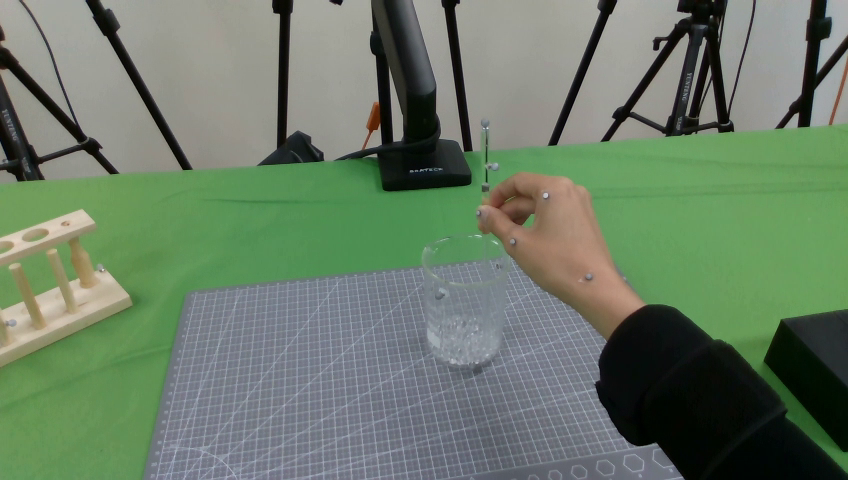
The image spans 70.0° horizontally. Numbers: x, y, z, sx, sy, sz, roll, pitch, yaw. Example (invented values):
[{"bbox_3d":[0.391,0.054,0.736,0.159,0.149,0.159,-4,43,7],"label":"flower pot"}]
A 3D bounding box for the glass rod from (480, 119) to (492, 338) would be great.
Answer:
[{"bbox_3d":[0.052,-0.001,0.491,0.008,0.201,0.008,-3,29,2],"label":"glass rod"}]

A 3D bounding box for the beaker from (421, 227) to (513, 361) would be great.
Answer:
[{"bbox_3d":[0.033,0.048,0.529,0.083,0.101,0.074,26,43,33],"label":"beaker"}]

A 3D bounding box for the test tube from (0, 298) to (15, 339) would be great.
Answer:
[{"bbox_3d":[-0.374,0.023,0.502,0.017,0.151,0.017,2,34,-1],"label":"test tube"}]

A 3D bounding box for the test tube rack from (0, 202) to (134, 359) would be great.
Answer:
[{"bbox_3d":[-0.399,0.059,0.531,0.242,0.086,0.066,-29,45,-35],"label":"test tube rack"}]
